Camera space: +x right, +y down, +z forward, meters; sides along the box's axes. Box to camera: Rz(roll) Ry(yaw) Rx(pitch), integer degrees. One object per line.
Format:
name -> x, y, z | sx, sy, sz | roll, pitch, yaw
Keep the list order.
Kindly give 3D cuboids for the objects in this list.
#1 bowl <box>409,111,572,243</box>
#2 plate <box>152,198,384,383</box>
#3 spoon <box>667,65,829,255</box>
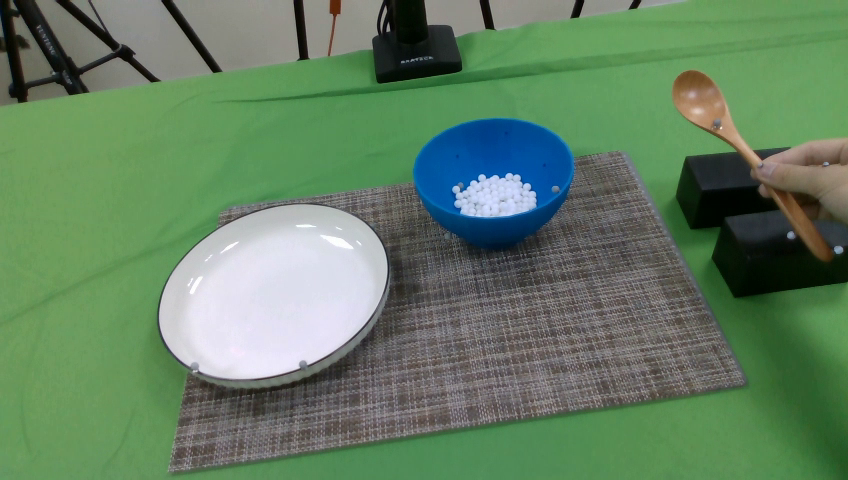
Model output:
bowl -> 0.065, -0.050, 0.588 | 0.151, 0.077, 0.150 | -4, 46, 4
plate -> -0.138, 0.045, 0.556 | 0.207, 0.039, 0.205 | -4, 46, 4
spoon -> 0.259, -0.068, 0.488 | 0.041, 0.022, 0.192 | -23, 63, -5
